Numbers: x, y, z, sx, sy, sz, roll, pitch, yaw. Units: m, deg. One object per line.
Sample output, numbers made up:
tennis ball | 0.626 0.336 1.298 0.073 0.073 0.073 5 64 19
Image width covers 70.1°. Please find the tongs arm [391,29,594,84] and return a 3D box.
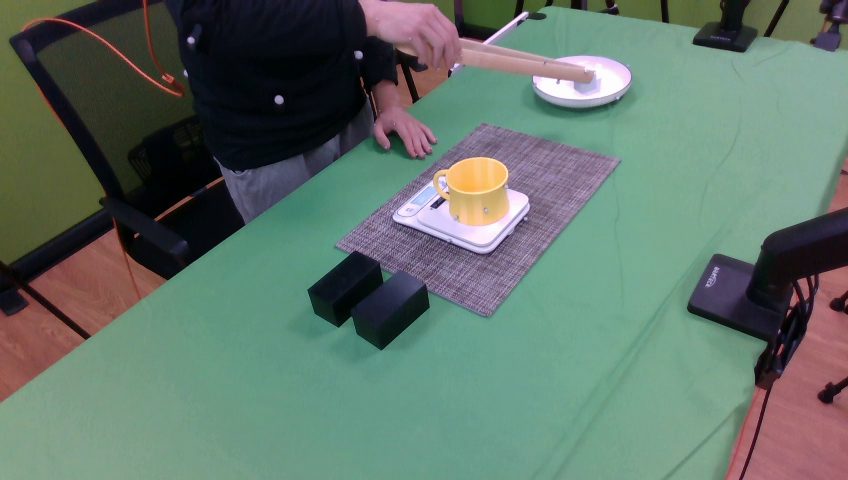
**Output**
tongs arm | 0.128 -0.307 1.027 0.388 0.026 0.050 -1 41 -29

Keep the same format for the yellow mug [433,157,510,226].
yellow mug | 0.072 -0.082 0.968 0.130 0.064 0.100 13 45 24

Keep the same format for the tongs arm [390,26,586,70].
tongs arm | 0.121 -0.321 1.043 0.390 0.028 0.028 2 43 -25

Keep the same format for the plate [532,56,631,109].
plate | 0.336 -0.336 1.301 0.207 0.039 0.206 -4 41 4

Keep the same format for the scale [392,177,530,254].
scale | 0.060 -0.050 1.006 0.199 0.032 0.149 22 48 30
